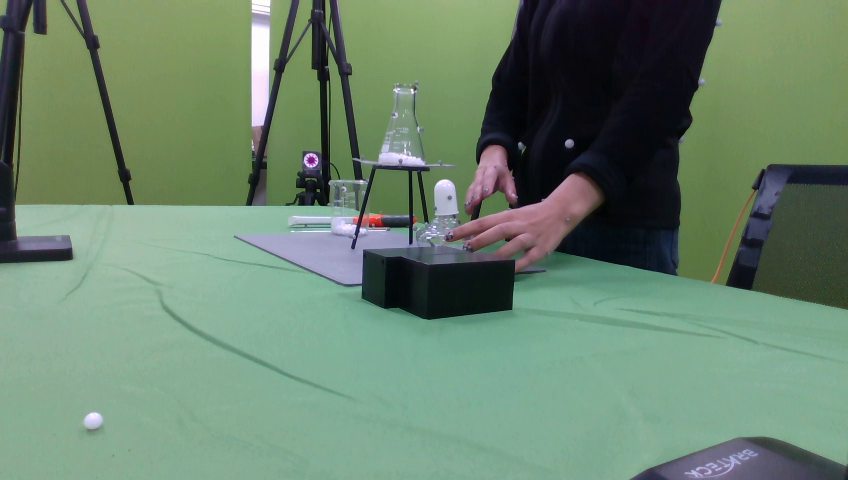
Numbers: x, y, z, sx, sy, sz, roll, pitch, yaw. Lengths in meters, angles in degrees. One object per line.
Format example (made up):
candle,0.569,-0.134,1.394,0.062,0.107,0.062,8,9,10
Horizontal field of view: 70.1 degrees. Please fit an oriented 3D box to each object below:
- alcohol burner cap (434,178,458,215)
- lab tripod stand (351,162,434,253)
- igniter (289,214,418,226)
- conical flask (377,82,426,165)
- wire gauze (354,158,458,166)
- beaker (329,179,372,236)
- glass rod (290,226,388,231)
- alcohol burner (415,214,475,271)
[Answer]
alcohol burner cap,0.027,-0.056,0.777,0.034,0.048,0.034,-6,9,1
lab tripod stand,-0.034,-0.052,0.933,0.148,0.131,0.148,4,7,0
igniter,-0.141,-0.042,1.258,0.278,0.025,0.057,-1,-2,-30
conical flask,-0.032,-0.175,0.918,0.075,0.122,0.075,3,8,0
wire gauze,-0.030,-0.117,0.927,0.122,0.011,0.124,0,5,-36
beaker,-0.137,-0.061,1.101,0.084,0.100,0.074,5,7,20
glass rod,-0.161,-0.022,1.177,0.201,0.008,0.008,-2,8,-28
alcohol burner,0.027,-0.020,0.783,0.078,0.119,0.078,0,8,0
